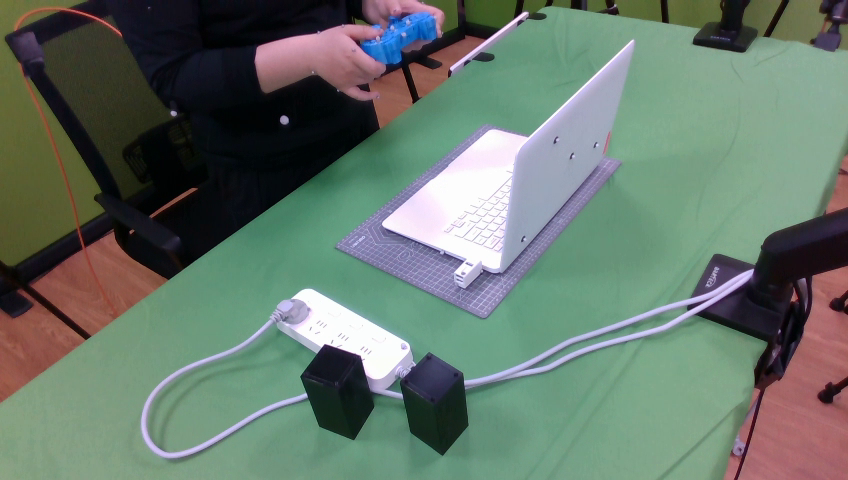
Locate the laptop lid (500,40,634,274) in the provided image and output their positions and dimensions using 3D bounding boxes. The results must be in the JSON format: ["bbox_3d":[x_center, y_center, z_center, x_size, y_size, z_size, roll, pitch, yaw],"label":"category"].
[{"bbox_3d":[0.218,-0.128,0.906,0.013,0.242,0.358,28,50,25],"label":"laptop lid"}]

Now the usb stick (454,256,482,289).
[{"bbox_3d":[0.069,0.044,0.891,0.021,0.027,0.059,23,44,32],"label":"usb stick"}]

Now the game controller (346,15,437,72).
[{"bbox_3d":[-0.050,-0.319,0.963,0.096,0.052,0.155,14,44,38],"label":"game controller"}]

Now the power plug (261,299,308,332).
[{"bbox_3d":[-0.193,0.109,0.830,0.073,0.053,0.035,-35,47,-24],"label":"power plug"}]

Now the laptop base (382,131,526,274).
[{"bbox_3d":[0.123,-0.081,1.049,0.233,0.023,0.355,20,47,33],"label":"laptop base"}]

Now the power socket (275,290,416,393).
[{"bbox_3d":[-0.114,0.132,0.821,0.225,0.033,0.072,24,48,32],"label":"power socket"}]
